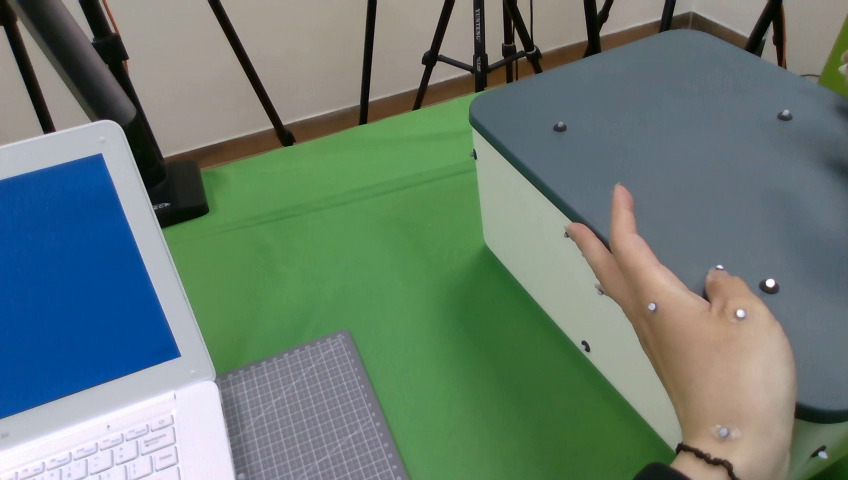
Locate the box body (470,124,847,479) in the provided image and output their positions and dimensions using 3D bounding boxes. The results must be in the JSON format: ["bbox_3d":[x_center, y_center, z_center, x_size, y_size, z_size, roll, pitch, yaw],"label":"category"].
[{"bbox_3d":[0.230,-0.006,0.505,0.254,0.162,0.360,-22,44,-17],"label":"box body"}]

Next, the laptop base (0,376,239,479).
[{"bbox_3d":[-0.295,0.243,0.403,0.355,0.023,0.232,-19,46,-13],"label":"laptop base"}]

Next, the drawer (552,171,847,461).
[{"bbox_3d":[0.242,0.046,0.502,0.195,0.074,0.209,-21,44,-12],"label":"drawer"}]

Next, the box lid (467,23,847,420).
[{"bbox_3d":[0.223,-0.059,0.444,0.263,0.015,0.367,-23,45,-15],"label":"box lid"}]

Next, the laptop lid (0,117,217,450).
[{"bbox_3d":[-0.369,0.065,0.457,0.357,0.243,0.013,-20,14,-13],"label":"laptop lid"}]

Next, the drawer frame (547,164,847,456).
[{"bbox_3d":[0.242,0.040,0.494,0.202,0.083,0.211,-19,39,-16],"label":"drawer frame"}]
